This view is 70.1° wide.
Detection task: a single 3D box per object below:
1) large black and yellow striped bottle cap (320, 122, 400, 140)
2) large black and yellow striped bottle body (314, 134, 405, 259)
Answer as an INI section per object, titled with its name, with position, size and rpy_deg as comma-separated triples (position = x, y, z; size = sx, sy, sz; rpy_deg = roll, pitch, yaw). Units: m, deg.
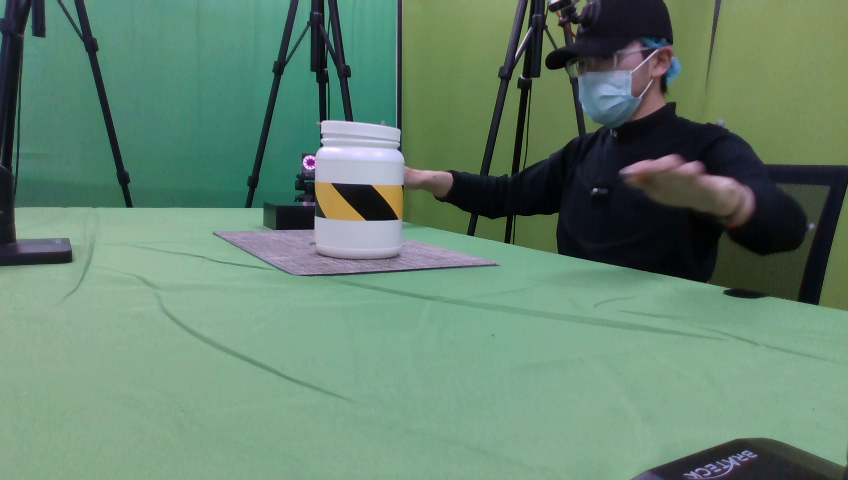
[large black and yellow striped bottle cap]
position = -0.091, -0.157, 0.873
size = 0.115, 0.019, 0.115
rpy_deg = 4, 6, 0
[large black and yellow striped bottle body]
position = -0.095, -0.072, 0.886
size = 0.131, 0.184, 0.130
rpy_deg = 2, 8, 0
